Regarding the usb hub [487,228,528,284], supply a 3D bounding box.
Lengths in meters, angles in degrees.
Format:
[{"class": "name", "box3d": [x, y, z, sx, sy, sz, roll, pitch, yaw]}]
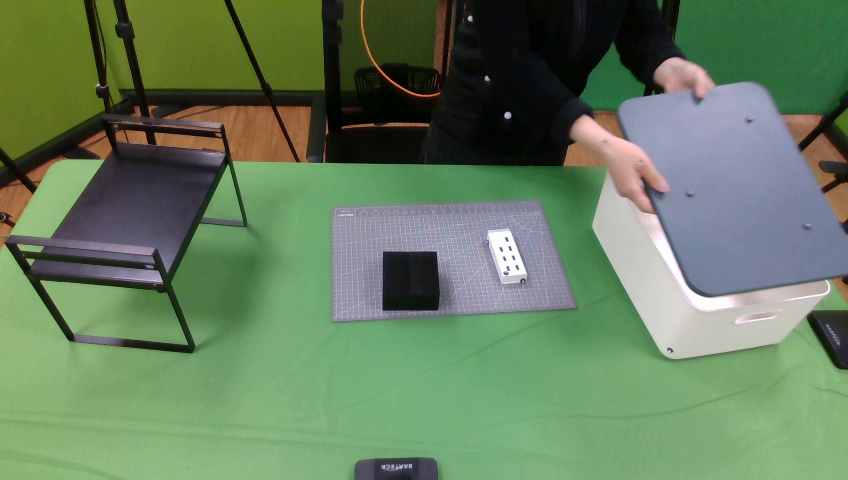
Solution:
[{"class": "usb hub", "box3d": [0.159, 0.029, 1.173, 0.049, 0.025, 0.124, -5, 47, -9]}]

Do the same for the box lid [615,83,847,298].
[{"class": "box lid", "box3d": [0.468, -0.094, 0.932, 0.263, 0.015, 0.369, -9, 61, -5]}]

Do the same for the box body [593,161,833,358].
[{"class": "box body", "box3d": [0.497, 0.022, 1.112, 0.254, 0.161, 0.361, -7, 47, -10]}]
